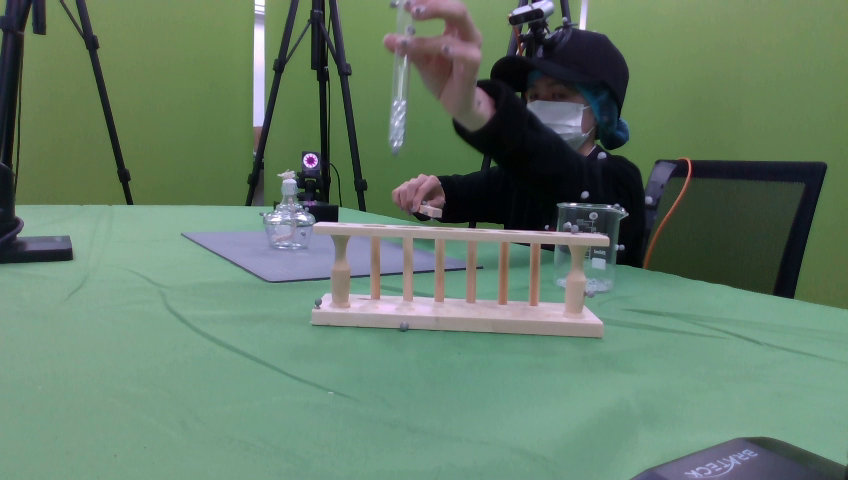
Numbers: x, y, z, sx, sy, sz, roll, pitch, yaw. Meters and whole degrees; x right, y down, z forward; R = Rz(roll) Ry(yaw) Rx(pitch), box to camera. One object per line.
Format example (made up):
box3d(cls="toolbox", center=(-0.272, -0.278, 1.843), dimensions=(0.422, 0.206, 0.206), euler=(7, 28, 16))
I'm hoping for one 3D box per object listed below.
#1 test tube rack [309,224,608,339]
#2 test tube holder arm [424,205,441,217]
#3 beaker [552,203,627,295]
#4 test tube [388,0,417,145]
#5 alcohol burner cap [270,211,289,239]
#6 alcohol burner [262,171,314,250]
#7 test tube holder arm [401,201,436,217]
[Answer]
box3d(cls="test tube rack", center=(0.028, 0.032, 0.527), dimensions=(0.242, 0.085, 0.067), euler=(3, 7, 0))
box3d(cls="test tube holder arm", center=(0.008, -0.048, 0.980), dimensions=(0.010, 0.015, 0.087), euler=(9, 5, -20))
box3d(cls="beaker", center=(0.191, 0.010, 0.708), dimensions=(0.083, 0.100, 0.074), euler=(8, 9, 33))
box3d(cls="test tube", center=(-0.019, -0.160, 0.547), dimensions=(0.017, 0.150, 0.017), euler=(5, -4, 1))
box3d(cls="alcohol burner cap", center=(-0.246, -0.026, 1.035), dimensions=(0.034, 0.048, 0.034), euler=(2, 8, 0))
box3d(cls="alcohol burner", center=(-0.205, -0.045, 0.913), dimensions=(0.078, 0.119, 0.078), euler=(1, 9, 0))
box3d(cls="test tube holder arm", center=(-0.012, -0.054, 1.020), dimensions=(0.013, 0.015, 0.178), euler=(9, 4, -20))
